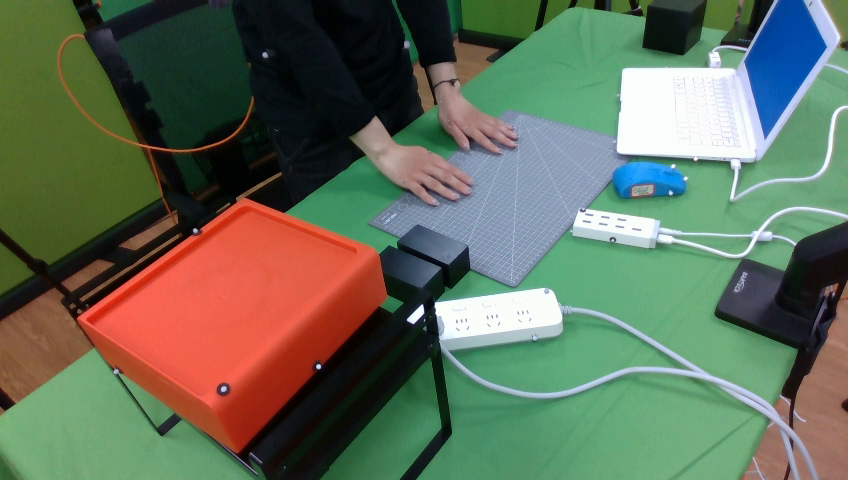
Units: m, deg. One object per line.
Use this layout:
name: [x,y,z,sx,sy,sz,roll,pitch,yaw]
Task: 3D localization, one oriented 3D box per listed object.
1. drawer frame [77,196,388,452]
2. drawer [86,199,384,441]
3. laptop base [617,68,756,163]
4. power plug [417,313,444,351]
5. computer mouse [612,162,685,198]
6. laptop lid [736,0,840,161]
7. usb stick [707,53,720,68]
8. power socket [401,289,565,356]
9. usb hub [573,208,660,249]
drawer frame: [-0.179,0.066,0.598,0.200,0.083,0.214,20,48,28]
drawer: [-0.179,0.064,0.600,0.193,0.073,0.212,21,48,28]
laptop base: [0.509,-0.255,1.201,0.234,0.023,0.353,4,41,16]
power plug: [0.007,0.127,0.786,0.035,0.053,0.072,0,43,8]
computer mouse: [0.382,-0.103,1.027,0.117,0.041,0.062,0,39,2]
laptop lid: [0.641,-0.327,1.090,0.013,0.242,0.356,16,43,5]
usb stick: [0.629,-0.382,1.313,0.021,0.027,0.059,2,46,17]
power socket: [0.081,0.112,0.822,0.227,0.033,0.072,-7,41,0]
usb hub: [0.302,-0.019,0.949,0.124,0.025,0.049,11,43,20]
